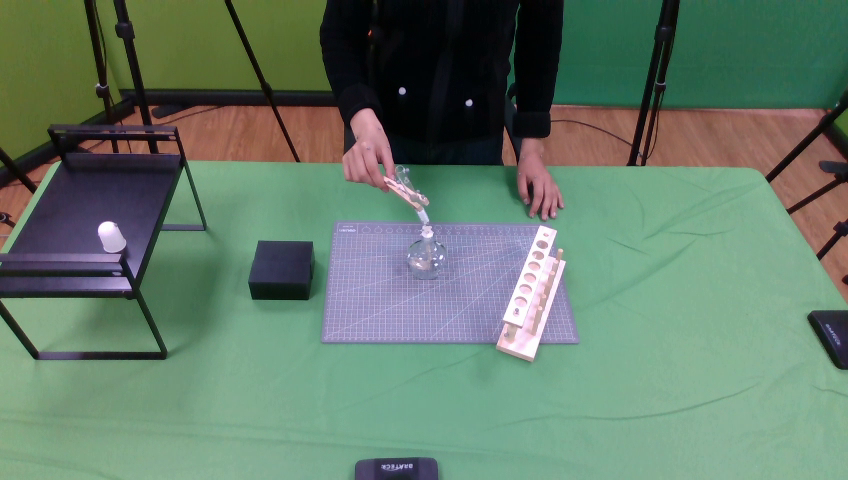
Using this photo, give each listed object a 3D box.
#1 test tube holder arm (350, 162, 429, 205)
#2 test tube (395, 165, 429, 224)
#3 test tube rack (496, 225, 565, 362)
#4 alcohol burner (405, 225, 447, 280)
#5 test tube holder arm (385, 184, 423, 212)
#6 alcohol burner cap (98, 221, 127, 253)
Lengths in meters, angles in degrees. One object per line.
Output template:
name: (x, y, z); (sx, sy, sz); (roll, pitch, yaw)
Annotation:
test tube holder arm: (-0.062, -0.098, 1.039); (0.177, 0.015, 0.013); (29, 71, 32)
test tube: (-0.018, -0.071, 0.995); (0.017, 0.151, 0.017); (-9, 56, 14)
test tube rack: (0.200, 0.089, 1.081); (0.066, 0.085, 0.241); (19, 48, 13)
alcohol burner: (0.005, 0.017, 1.115); (0.078, 0.120, 0.077); (1, 47, -1)
test tube holder arm: (-0.034, -0.073, 1.013); (0.010, 0.015, 0.087); (-44, 55, -10)
alcohol burner cap: (-0.468, -0.007, 0.904); (0.034, 0.048, 0.033); (3, 46, -3)
